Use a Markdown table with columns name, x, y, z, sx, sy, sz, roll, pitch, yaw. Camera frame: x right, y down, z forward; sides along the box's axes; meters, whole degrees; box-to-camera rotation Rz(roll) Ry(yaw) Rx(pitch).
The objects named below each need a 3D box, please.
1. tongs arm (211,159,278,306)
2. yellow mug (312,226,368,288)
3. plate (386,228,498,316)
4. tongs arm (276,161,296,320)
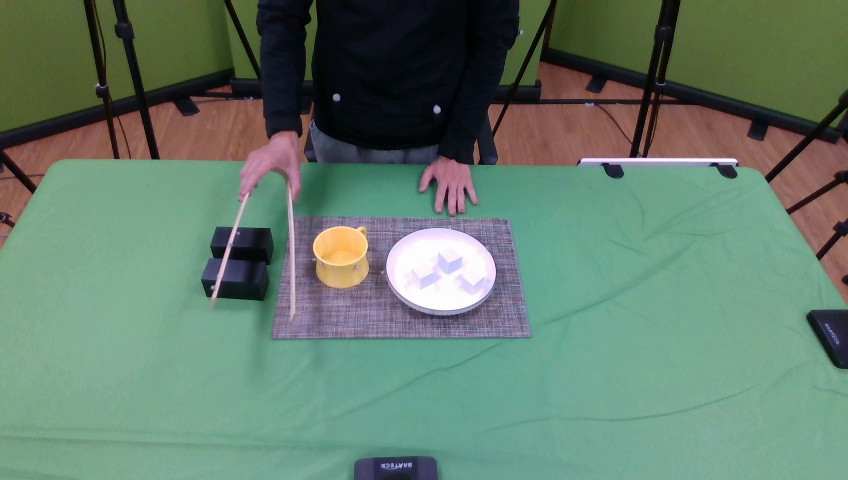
| name | x | y | z | sx | sy | sz | roll | pitch | yaw |
| --- | --- | --- | --- | --- | --- | --- | --- | --- | --- |
| tongs arm | -0.311 | -0.029 | 1.074 | 0.051 | 0.026 | 0.382 | 13 | 40 | -15 |
| yellow mug | -0.146 | 0.021 | 1.132 | 0.099 | 0.064 | 0.130 | 24 | 49 | 19 |
| plate | 0.032 | 0.062 | 1.126 | 0.208 | 0.039 | 0.206 | 2 | 46 | -2 |
| tongs arm | -0.248 | -0.014 | 1.096 | 0.028 | 0.028 | 0.385 | 4 | 43 | -20 |
